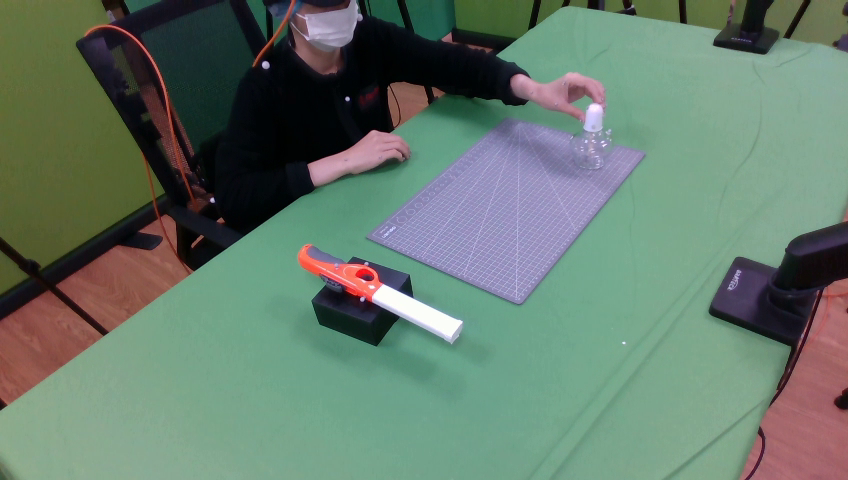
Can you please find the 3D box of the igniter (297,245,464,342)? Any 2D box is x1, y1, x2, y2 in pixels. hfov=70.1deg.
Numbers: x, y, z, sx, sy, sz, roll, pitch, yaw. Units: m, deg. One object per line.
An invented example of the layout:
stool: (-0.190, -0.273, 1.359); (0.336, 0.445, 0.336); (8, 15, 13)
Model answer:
igniter: (-0.070, 0.068, 0.828); (0.274, 0.025, 0.057); (23, 49, 25)

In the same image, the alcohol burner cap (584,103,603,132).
alcohol burner cap: (0.295, -0.213, 1.047); (0.034, 0.048, 0.033); (-5, 38, 4)

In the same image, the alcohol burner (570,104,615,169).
alcohol burner: (0.299, -0.187, 1.071); (0.078, 0.119, 0.077); (-6, 41, 6)
